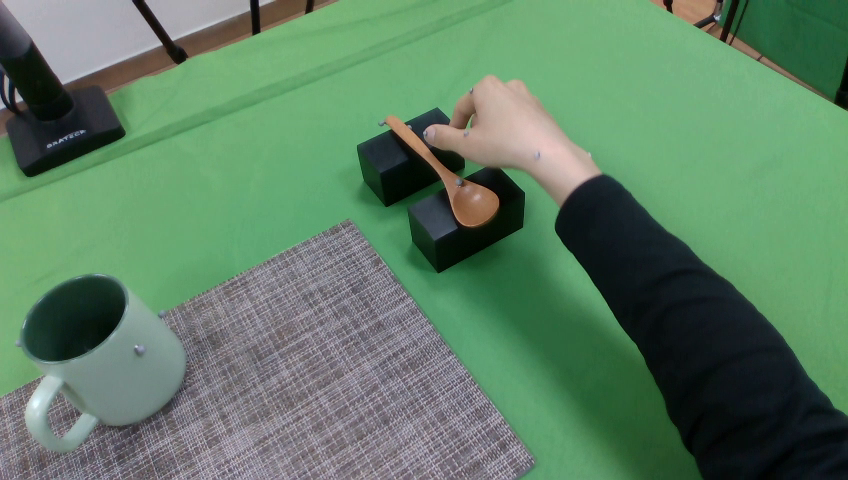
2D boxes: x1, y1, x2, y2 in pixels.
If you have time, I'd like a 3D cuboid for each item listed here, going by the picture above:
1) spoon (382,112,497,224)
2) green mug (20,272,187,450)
[{"bbox_3d":[0.007,-0.077,0.577,0.041,0.022,0.191,-40,55,1],"label":"spoon"},{"bbox_3d":[-0.254,0.100,0.471,0.092,0.106,0.124,9,53,12],"label":"green mug"}]
